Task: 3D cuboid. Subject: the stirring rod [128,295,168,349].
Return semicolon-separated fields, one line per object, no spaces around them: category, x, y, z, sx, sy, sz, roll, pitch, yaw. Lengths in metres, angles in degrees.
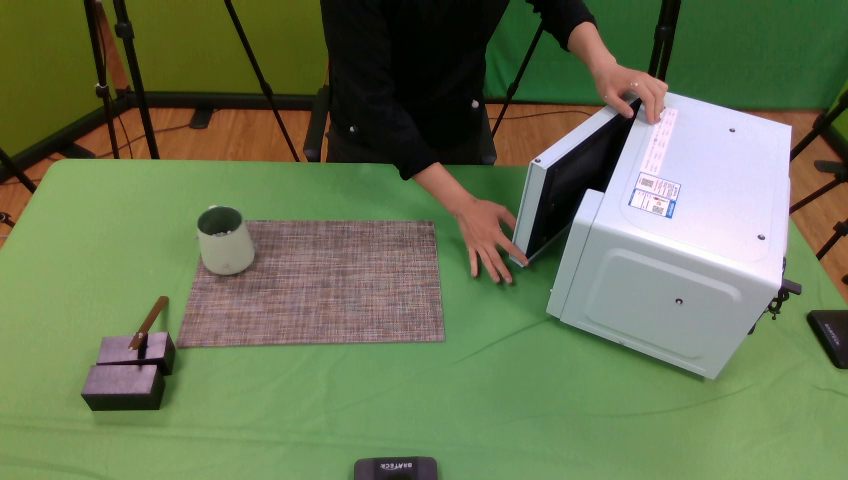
stirring rod;-0.451;0.131;0.996;0.014;0.006;0.175;9;20;-10

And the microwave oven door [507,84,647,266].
microwave oven door;0.299;-0.130;1.168;0.039;0.245;0.355;36;54;26

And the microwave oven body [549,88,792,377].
microwave oven body;0.456;-0.028;1.088;0.325;0.261;0.440;20;47;16

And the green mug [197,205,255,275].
green mug;-0.370;-0.008;1.114;0.092;0.105;0.124;-19;50;-20

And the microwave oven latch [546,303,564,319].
microwave oven latch;0.242;0.102;1.081;0.030;0.029;0.079;22;48;17
